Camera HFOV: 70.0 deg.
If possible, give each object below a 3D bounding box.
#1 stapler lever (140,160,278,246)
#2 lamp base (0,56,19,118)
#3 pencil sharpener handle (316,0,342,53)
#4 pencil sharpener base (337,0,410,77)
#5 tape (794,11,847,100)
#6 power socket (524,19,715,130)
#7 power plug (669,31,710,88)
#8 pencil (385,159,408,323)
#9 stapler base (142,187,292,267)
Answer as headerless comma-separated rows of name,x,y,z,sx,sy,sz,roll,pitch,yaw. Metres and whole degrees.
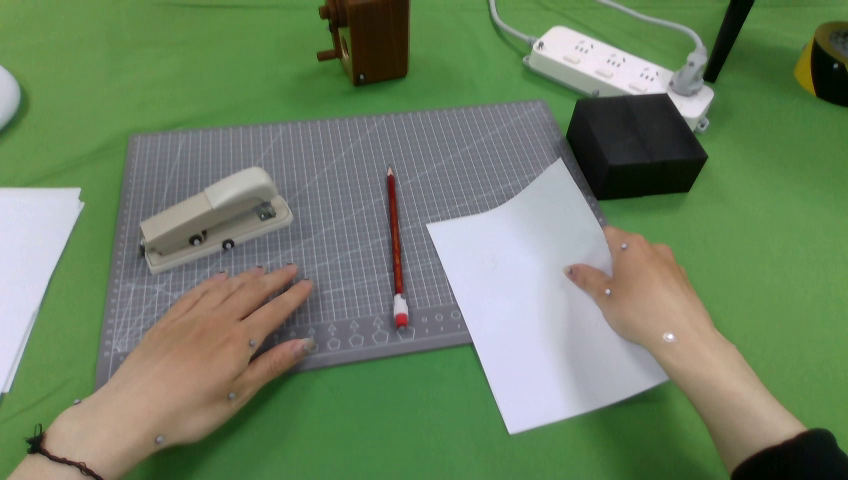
stapler lever,-0.184,-0.034,0.520,0.118,0.040,0.026,-23,55,-20
lamp base,-0.506,-0.201,0.561,0.160,0.182,0.177,-35,59,-27
pencil sharpener handle,-0.105,-0.236,0.648,0.031,0.068,0.035,-17,33,-16
pencil sharpener base,-0.061,-0.246,0.677,0.077,0.108,0.060,-17,55,-16
tape,0.522,-0.224,0.737,0.117,0.053,0.115,2,53,-2
power socket,0.227,-0.197,0.706,0.225,0.033,0.072,31,56,20
power plug,0.304,-0.193,0.679,0.072,0.053,0.035,-36,62,-27
pencil,-0.027,-0.008,0.552,0.012,0.012,0.192,-3,51,-6
stapler base,-0.184,-0.020,0.540,0.131,0.024,0.041,-24,56,-19
